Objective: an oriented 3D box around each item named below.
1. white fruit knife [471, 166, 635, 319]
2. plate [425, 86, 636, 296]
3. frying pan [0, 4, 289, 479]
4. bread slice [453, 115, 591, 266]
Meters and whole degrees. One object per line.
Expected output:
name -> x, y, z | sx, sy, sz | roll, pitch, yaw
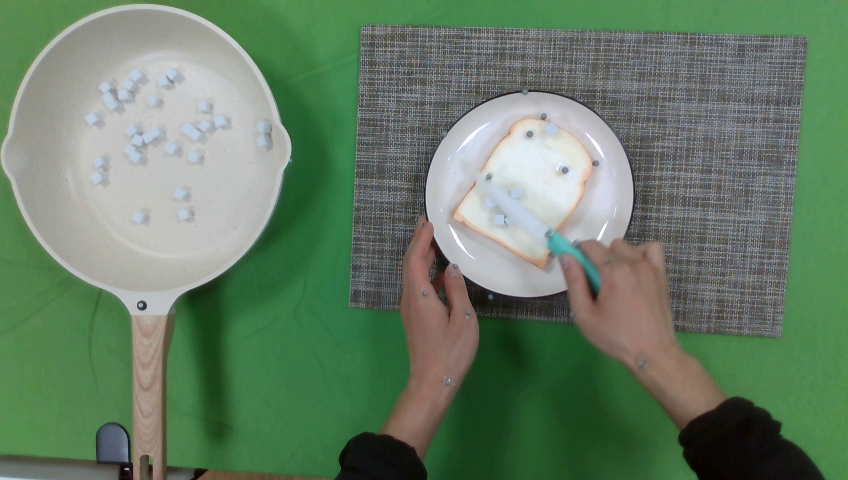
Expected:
white fruit knife -> 0.121, -0.003, 0.579 | 0.206, 0.016, 0.027 | 42, 136, 12
plate -> 0.106, -0.048, 0.616 | 0.207, 0.039, 0.207 | 0, 93, 6
frying pan -> -0.281, 0.014, 0.627 | 0.306, 0.103, 0.486 | -1, 85, 6
bread slice -> 0.103, -0.057, 0.617 | 0.107, 0.018, 0.134 | 26, 97, 3
